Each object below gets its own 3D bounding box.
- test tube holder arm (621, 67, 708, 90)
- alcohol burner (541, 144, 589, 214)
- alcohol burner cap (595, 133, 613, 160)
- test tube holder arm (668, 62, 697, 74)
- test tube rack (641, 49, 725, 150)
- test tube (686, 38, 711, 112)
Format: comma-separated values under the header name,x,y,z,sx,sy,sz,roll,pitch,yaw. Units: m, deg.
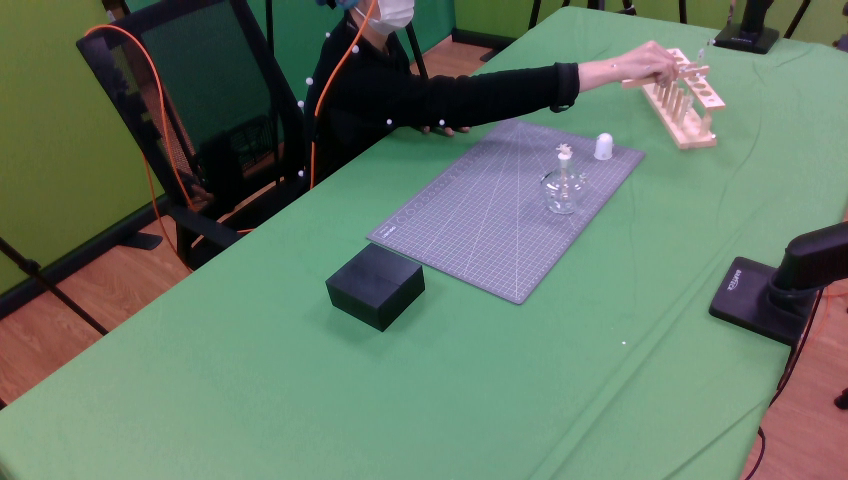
name,x,y,z,sx,sy,sz,roll,pitch,yaw
test tube holder arm,0.432,-0.291,1.083,0.179,0.015,0.013,-13,38,-15
alcohol burner,0.229,-0.102,0.983,0.078,0.119,0.077,-6,41,5
alcohol burner cap,0.330,-0.172,1.105,0.034,0.048,0.033,-5,41,5
test tube holder arm,0.469,-0.306,1.102,0.088,0.015,0.010,-28,45,-30
test tube rack,0.495,-0.279,1.175,0.067,0.085,0.241,-5,41,3
test tube,0.508,-0.305,1.128,0.017,0.151,0.017,-2,46,3
